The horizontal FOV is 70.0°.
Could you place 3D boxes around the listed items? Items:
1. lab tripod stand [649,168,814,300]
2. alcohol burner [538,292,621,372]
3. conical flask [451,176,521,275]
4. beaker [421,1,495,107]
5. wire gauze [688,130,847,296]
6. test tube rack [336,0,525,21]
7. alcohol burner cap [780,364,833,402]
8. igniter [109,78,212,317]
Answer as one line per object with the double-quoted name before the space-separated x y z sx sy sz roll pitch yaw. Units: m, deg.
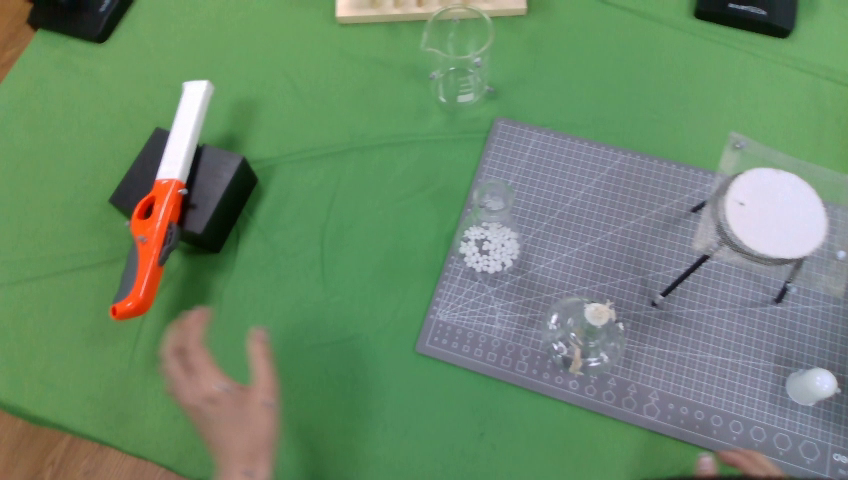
"lab tripod stand" 0.296 0.003 0.578 0.148 0.132 0.147 0 66 0
"alcohol burner" 0.147 0.080 0.561 0.078 0.120 0.077 0 66 0
"conical flask" 0.064 -0.019 0.601 0.075 0.123 0.075 -1 66 2
"beaker" 0.037 -0.207 0.696 0.084 0.101 0.073 -23 68 -7
"wire gauze" 0.302 -0.026 0.516 0.121 0.011 0.124 23 70 9
"test tube rack" 0.007 -0.334 0.757 0.242 0.086 0.066 -2 67 1
"alcohol burner cap" 0.364 0.133 0.572 0.034 0.048 0.033 -1 68 3
"igniter" -0.269 -0.052 0.628 0.057 0.025 0.274 1 66 14
